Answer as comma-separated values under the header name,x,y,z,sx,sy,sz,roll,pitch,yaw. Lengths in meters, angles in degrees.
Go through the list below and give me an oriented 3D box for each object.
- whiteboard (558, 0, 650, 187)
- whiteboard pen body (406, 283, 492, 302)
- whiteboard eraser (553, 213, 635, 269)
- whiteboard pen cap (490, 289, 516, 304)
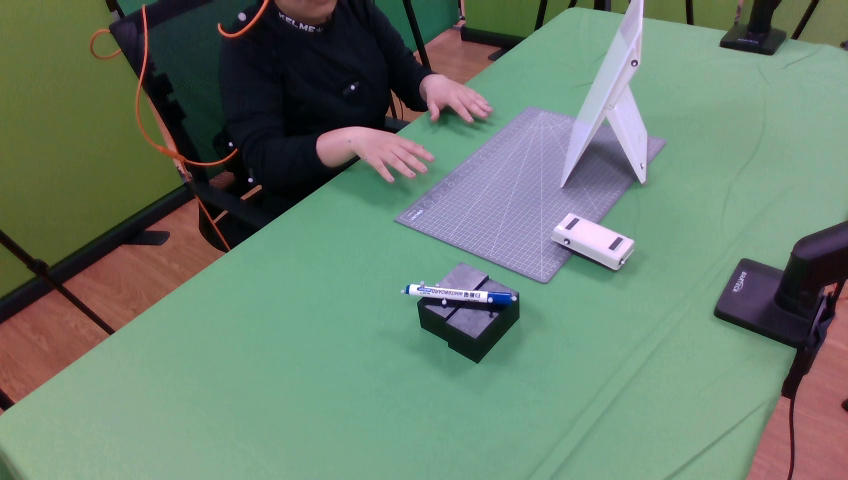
name,x,y,z,sx,sy,sz,roll,pitch,yaw
whiteboard,0.361,-0.238,1.026,0.144,0.306,0.217,21,45,4
whiteboard pen body,0.044,0.072,0.812,0.140,0.017,0.017,4,42,14
whiteboard eraser,0.257,0.003,0.918,0.112,0.042,0.056,27,49,30
whiteboard pen cap,0.105,0.074,0.798,0.033,0.018,0.018,-8,37,-28
